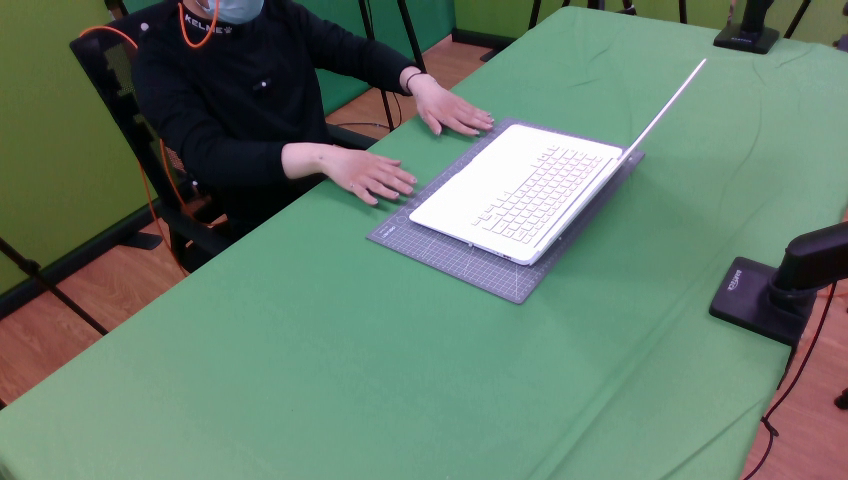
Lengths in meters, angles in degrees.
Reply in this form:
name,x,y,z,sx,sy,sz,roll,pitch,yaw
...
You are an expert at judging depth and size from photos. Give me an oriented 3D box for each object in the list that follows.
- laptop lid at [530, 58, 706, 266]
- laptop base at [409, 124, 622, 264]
name,x,y,z,sx,sy,sz,roll,pitch,yaw
laptop lid,0.293,-0.118,0.905,0.013,0.241,0.357,40,53,9
laptop base,0.168,-0.095,1.057,0.233,0.023,0.355,20,47,33
